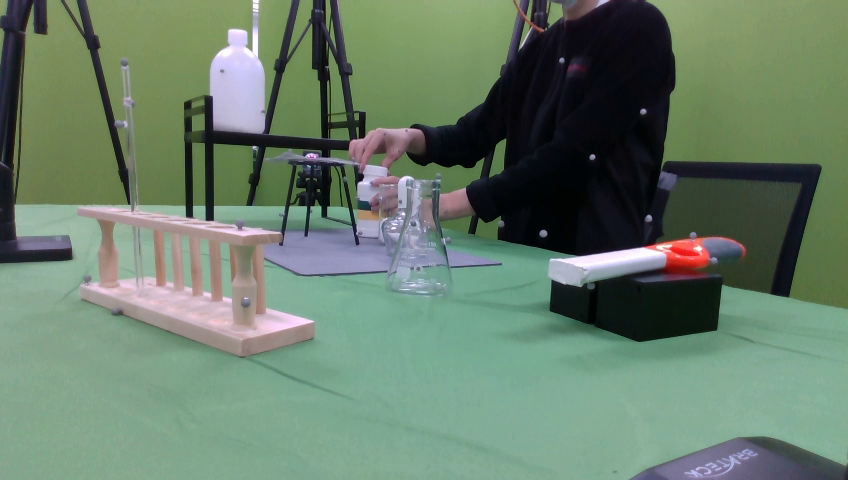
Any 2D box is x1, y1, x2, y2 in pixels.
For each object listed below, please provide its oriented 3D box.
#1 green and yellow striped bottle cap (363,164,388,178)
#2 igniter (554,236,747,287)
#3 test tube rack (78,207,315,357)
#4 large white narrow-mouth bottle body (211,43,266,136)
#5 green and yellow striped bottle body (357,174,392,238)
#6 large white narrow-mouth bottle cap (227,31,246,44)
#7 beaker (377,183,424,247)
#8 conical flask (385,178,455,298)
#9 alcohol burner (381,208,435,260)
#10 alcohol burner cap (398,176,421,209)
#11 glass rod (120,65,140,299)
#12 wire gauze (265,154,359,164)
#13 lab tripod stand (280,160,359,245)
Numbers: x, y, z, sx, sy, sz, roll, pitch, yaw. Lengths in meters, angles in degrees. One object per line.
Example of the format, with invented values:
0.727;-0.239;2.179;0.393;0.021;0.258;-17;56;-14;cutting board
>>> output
-0.086;-0.122;1.077;0.045;0.020;0.045;3;-4;1;green and yellow striped bottle cap
0.221;0.017;0.558;0.278;0.025;0.057;-5;15;-39;igniter
-0.196;0.023;0.499;0.241;0.085;0.067;8;9;37;test tube rack
-0.361;-0.302;1.176;0.102;0.194;0.102;1;7;0;large white narrow-mouth bottle body
-0.089;-0.066;1.085;0.063;0.119;0.063;2;8;0;green and yellow striped bottle body
-0.361;-0.388;1.165;0.038;0.024;0.037;1;7;0;large white narrow-mouth bottle cap
-0.037;-0.041;0.995;0.074;0.100;0.083;-5;12;-44;beaker
-0.002;-0.004;0.639;0.075;0.122;0.075;2;7;0;conical flask
-0.023;-0.032;0.872;0.078;0.119;0.078;0;6;0;alcohol burner
-0.023;-0.068;0.866;0.034;0.048;0.034;-5;8;1;alcohol burner cap
-0.249;-0.047;0.513;0.008;0.199;0.008;-1;4;0;glass rod
-0.181;-0.129;0.969;0.126;0.011;0.121;-1;7;-27;wire gauze
-0.176;-0.062;0.973;0.148;0.131;0.148;1;7;0;lab tripod stand
